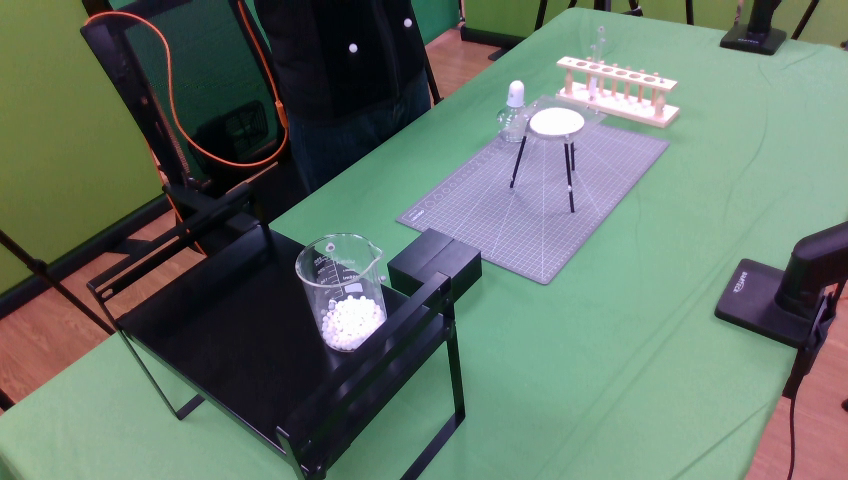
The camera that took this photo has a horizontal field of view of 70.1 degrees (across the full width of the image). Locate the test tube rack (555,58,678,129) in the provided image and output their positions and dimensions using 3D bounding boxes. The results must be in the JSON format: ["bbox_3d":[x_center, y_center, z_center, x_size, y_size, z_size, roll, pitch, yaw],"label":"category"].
[{"bbox_3d":[0.390,-0.307,1.229,0.240,0.085,0.067,26,50,33],"label":"test tube rack"}]

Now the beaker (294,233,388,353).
[{"bbox_3d":[-0.073,0.053,0.585,0.084,0.101,0.073,-13,41,-6],"label":"beaker"}]

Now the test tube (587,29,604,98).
[{"bbox_3d":[0.342,-0.349,1.209,0.017,0.151,0.017,-3,46,4],"label":"test tube"}]

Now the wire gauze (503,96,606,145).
[{"bbox_3d":[0.211,-0.192,0.975,0.120,0.011,0.125,24,49,32],"label":"wire gauze"}]

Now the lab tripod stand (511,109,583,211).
[{"bbox_3d":[0.220,-0.138,1.014,0.148,0.132,0.147,-3,41,3],"label":"lab tripod stand"}]

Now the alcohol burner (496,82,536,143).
[{"bbox_3d":[0.178,-0.250,1.168,0.078,0.119,0.077,-5,42,5],"label":"alcohol burner"}]

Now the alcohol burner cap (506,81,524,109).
[{"bbox_3d":[0.174,-0.277,1.144,0.034,0.048,0.033,0,39,1],"label":"alcohol burner cap"}]
